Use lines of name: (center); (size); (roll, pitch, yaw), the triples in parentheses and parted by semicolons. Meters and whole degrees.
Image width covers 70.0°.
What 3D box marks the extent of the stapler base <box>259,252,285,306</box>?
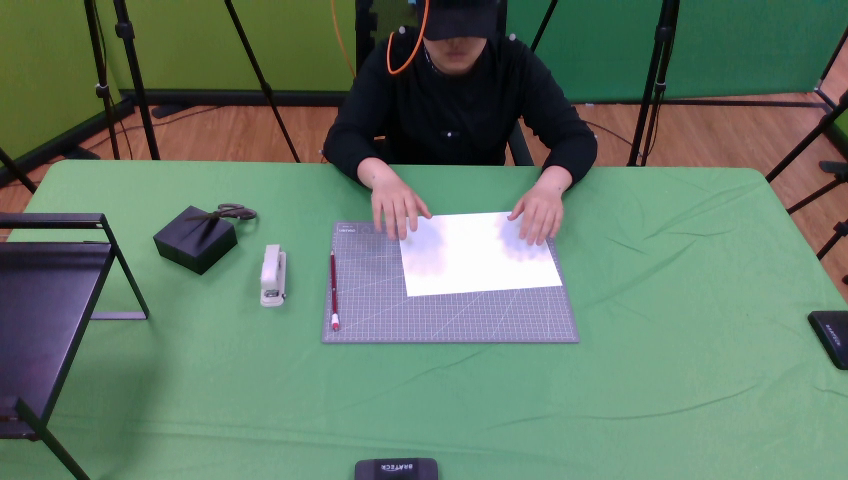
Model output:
stapler base: (-0.279, 0.064, 1.113); (0.041, 0.024, 0.129); (-1, 44, -9)

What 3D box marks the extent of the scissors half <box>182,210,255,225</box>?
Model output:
scissors half: (-0.389, -0.042, 1.158); (0.040, 0.013, 0.175); (40, 21, 23)

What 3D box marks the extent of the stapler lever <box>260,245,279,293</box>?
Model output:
stapler lever: (-0.279, 0.045, 1.096); (0.027, 0.040, 0.117); (-1, 44, -9)

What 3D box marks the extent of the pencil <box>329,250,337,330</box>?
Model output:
pencil: (-0.167, 0.086, 1.107); (0.012, 0.012, 0.192); (-3, 45, -8)

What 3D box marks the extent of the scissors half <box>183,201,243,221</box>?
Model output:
scissors half: (-0.405, -0.053, 1.163); (0.040, 0.013, 0.175); (28, 18, 7)
